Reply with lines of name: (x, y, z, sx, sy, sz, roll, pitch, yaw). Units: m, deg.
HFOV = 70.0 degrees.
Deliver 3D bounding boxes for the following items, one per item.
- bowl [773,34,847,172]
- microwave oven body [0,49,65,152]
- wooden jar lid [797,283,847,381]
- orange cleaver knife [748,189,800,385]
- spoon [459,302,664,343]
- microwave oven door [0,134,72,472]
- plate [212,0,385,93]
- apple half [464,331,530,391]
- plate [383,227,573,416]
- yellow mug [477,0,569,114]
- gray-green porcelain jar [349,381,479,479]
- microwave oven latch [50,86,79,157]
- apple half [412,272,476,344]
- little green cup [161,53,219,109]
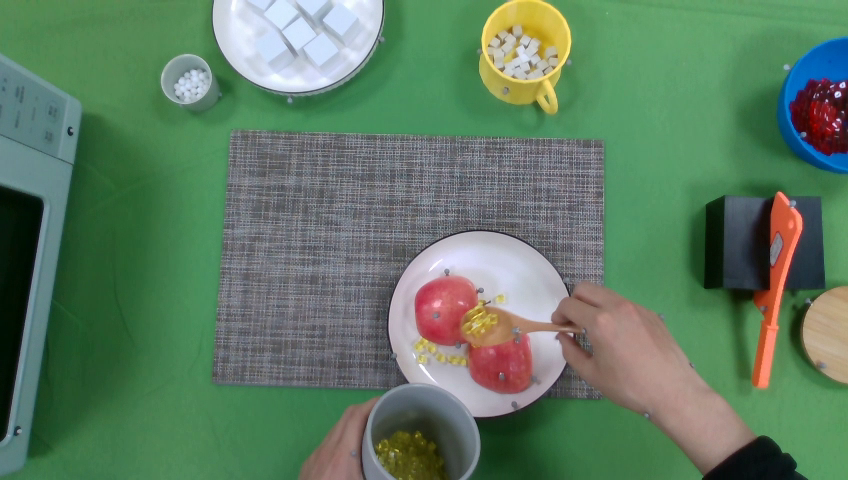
bowl: (0.456, -0.142, 0.676, 0.151, 0.077, 0.151, 0, 83, 3)
microwave oven body: (-0.600, 0.009, 0.605, 0.326, 0.261, 0.440, 5, 84, 2)
wooden jar lid: (0.470, 0.102, 0.677, 0.108, 0.021, 0.108, 0, 83, 4)
orange cleaver knife: (0.370, 0.053, 0.656, 0.012, 0.077, 0.212, 3, 107, 6)
spoon: (0.126, 0.081, 0.580, 0.193, 0.022, 0.041, -2, 84, 27)
microwave oven door: (-0.458, 0.064, 0.588, 0.039, 0.244, 0.355, 5, 83, 4)
plate: (-0.149, -0.275, 0.737, 0.207, 0.039, 0.207, 0, 83, 2)
apple half: (0.082, 0.130, 0.670, 0.081, 0.033, 0.081, 0, 81, 2)
plate: (0.060, 0.090, 0.682, 0.209, 0.038, 0.208, 0, 84, 2)
yellow mug: (0.120, -0.206, 0.704, 0.100, 0.064, 0.130, -27, 84, -1)
gray-green porcelain jar: (-0.015, 0.214, 0.584, 0.106, 0.127, 0.105, 10, 44, -9)
microwave oven latch: (-0.431, -0.140, 0.713, 0.030, 0.029, 0.079, 8, 84, 3)
apple half: (0.023, 0.075, 0.670, 0.074, 0.053, 0.080, -1, 84, 5)
little green cup: (-0.279, -0.188, 0.730, 0.061, 0.039, 0.061, 0, 84, 1)
